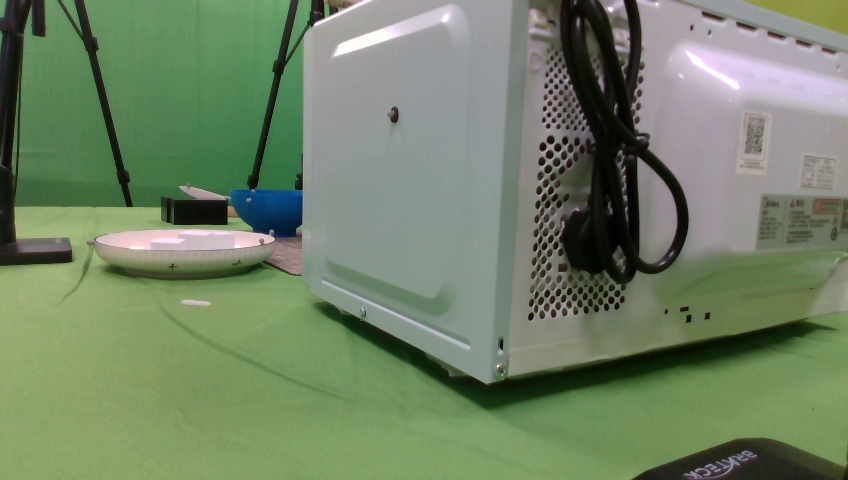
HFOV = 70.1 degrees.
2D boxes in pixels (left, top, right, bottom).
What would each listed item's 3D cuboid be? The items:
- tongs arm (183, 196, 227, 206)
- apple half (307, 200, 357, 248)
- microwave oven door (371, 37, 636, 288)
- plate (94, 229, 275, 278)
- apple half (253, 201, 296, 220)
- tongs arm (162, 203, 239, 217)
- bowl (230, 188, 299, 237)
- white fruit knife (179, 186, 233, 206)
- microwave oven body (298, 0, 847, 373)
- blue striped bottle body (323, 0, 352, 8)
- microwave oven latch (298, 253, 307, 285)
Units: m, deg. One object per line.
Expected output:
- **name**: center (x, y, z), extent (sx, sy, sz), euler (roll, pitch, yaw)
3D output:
- **tongs arm**: center (-0.404, -0.081, 1.479), extent (0.385, 0.026, 0.050), euler (4, 8, -2)
- **apple half**: center (-0.135, -0.024, 0.941), extent (0.053, 0.074, 0.081), euler (13, 9, 39)
- **microwave oven door**: center (0.109, -0.080, 0.686), extent (0.358, 0.243, 0.039), euler (-2, 9, -33)
- **plate**: center (-0.291, 0.016, 0.750), extent (0.208, 0.039, 0.207), euler (2, 7, 0)
- **apple half**: center (-0.264, -0.053, 1.067), extent (0.081, 0.033, 0.081), euler (1, 8, 0)
- **tongs arm**: center (-0.396, -0.066, 1.399), extent (0.389, 0.028, 0.028), euler (1, 5, -15)
- **bowl**: center (-0.264, -0.048, 1.065), extent (0.151, 0.077, 0.151), euler (3, 8, 0)
- **white fruit knife**: center (-0.413, -0.081, 1.270), extent (0.208, 0.027, 0.016), euler (17, 13, -41)
- **microwave oven body**: center (0.151, -0.055, 0.542), extent (0.444, 0.260, 0.324), euler (-2, 7, -33)
- **blue striped bottle body**: center (-0.122, -0.430, 0.950), extent (0.063, 0.120, 0.063), euler (7, 8, -1)
- **microwave oven latch**: center (-0.082, 0.027, 0.582), extent (0.079, 0.029, 0.030), euler (-2, 7, -33)
